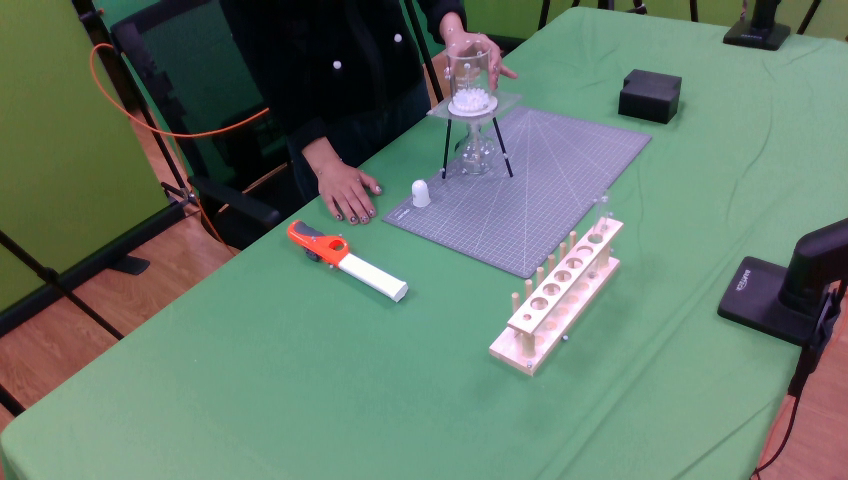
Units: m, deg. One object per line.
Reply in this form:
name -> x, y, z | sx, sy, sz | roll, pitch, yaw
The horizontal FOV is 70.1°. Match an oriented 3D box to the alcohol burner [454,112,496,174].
alcohol burner -> 0.092, -0.181, 1.102 | 0.078, 0.119, 0.077 | -5, 42, 5

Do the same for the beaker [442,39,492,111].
beaker -> 0.075, -0.276, 1.022 | 0.083, 0.101, 0.074 | 5, 40, 15

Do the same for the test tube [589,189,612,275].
test tube -> 0.238, -0.007, 0.818 | 0.017, 0.151, 0.017 | -3, 43, 4

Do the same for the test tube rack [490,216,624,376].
test tube rack -> 0.184, 0.064, 0.822 | 0.066, 0.085, 0.243 | 24, 50, 33

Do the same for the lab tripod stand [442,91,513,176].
lab tripod stand -> 0.096, -0.190, 1.096 | 0.148, 0.132, 0.147 | -4, 40, 4

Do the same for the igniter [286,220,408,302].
igniter -> -0.134, 0.028, 0.969 | 0.274, 0.025, 0.057 | 26, 61, 35

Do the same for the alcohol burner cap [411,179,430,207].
alcohol burner cap -> -0.008, -0.085, 1.063 | 0.034, 0.048, 0.033 | -5, 39, 5

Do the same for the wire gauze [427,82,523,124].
wire gauze -> 0.088, -0.237, 1.051 | 0.120, 0.011, 0.125 | 23, 47, 30
